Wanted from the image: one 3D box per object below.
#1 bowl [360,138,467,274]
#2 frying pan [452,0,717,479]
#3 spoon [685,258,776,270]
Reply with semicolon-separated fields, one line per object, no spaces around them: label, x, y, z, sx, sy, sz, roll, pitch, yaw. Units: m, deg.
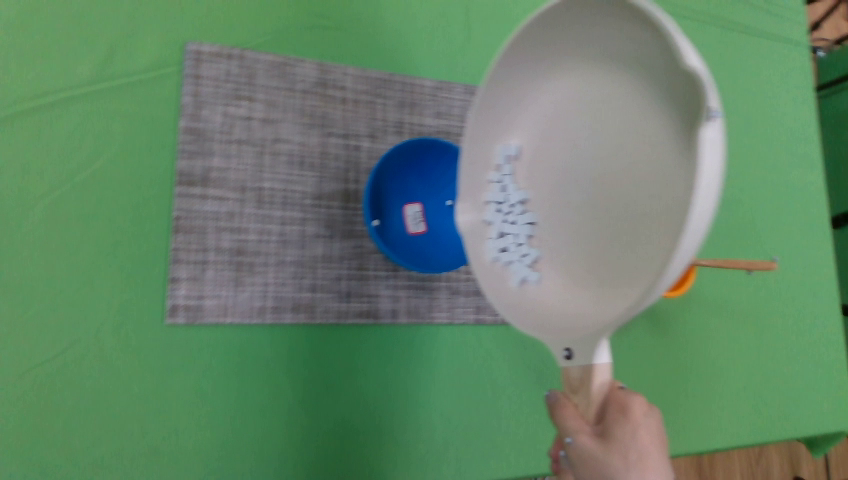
bowl;-0.006;-0.031;0.681;0.152;0.076;0.151;4;80;-20
frying pan;0.127;0.041;0.504;0.103;0.306;0.485;8;74;-26
spoon;0.335;0.029;0.767;0.022;0.193;0.041;31;64;-61
